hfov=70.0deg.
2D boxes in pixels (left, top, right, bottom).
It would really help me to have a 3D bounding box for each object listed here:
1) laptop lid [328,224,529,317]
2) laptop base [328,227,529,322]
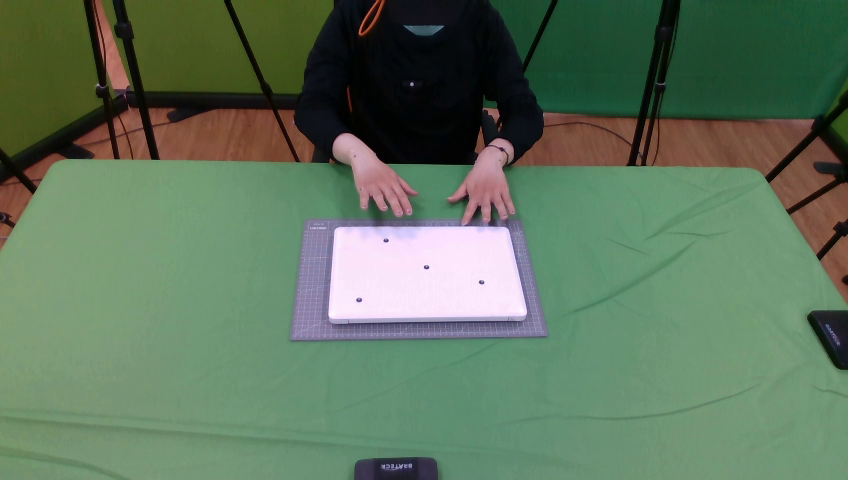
[{"bbox_3d":[0.005,0.051,1.130,0.357,0.013,0.240,1,44,-3],"label":"laptop lid"},{"bbox_3d":[0.005,0.061,1.136,0.355,0.023,0.234,0,43,-4],"label":"laptop base"}]
